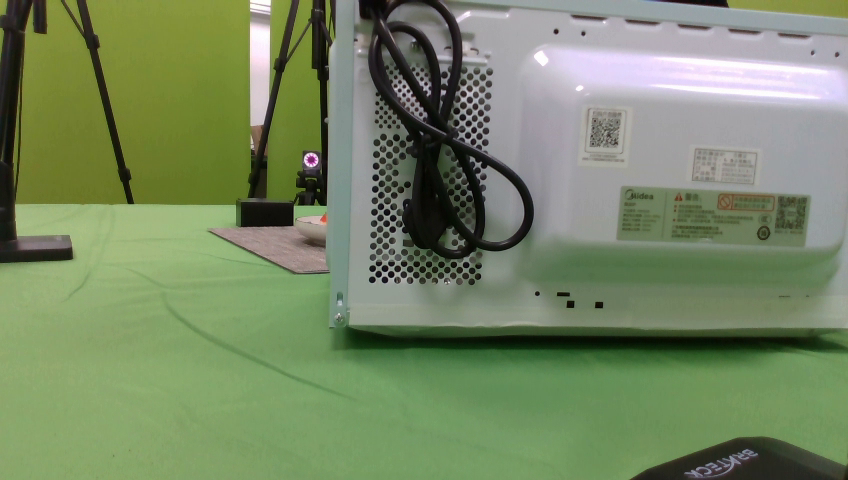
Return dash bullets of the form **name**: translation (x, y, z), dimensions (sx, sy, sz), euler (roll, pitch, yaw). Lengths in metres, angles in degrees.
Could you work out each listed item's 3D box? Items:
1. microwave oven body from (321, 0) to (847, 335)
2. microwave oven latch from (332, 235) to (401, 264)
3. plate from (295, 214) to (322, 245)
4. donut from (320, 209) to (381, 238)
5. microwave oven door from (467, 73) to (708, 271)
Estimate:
- **microwave oven body**: translation (0.133, -0.062, 0.568), dimensions (0.443, 0.260, 0.325), euler (2, 6, -8)
- **microwave oven latch**: translation (-0.066, 0.010, 0.701), dimensions (0.079, 0.029, 0.030), euler (2, 6, -8)
- **plate**: translation (-0.107, -0.015, 0.997), dimensions (0.209, 0.038, 0.209), euler (2, 7, 0)
- **donut**: translation (-0.121, -0.027, 0.995), dimensions (0.099, 0.048, 0.099), euler (2, 5, 0)
- **microwave oven door**: translation (0.208, -0.101, 0.860), dimensions (0.039, 0.243, 0.354), euler (-5, 10, -44)
